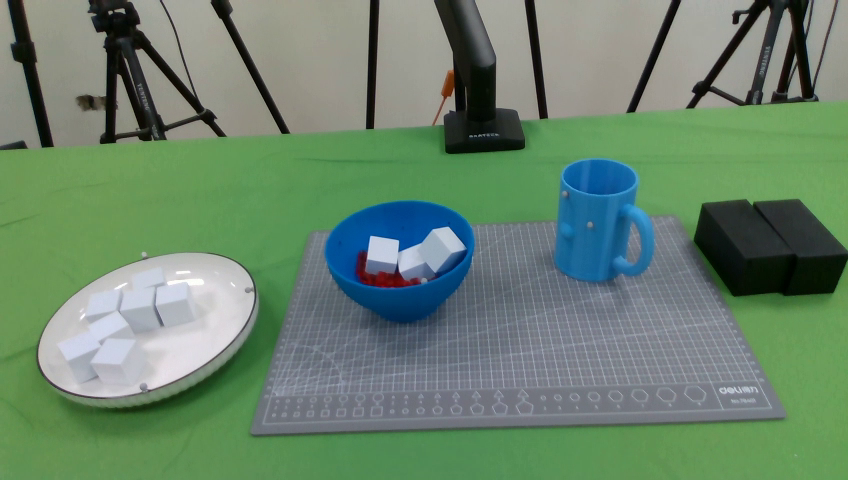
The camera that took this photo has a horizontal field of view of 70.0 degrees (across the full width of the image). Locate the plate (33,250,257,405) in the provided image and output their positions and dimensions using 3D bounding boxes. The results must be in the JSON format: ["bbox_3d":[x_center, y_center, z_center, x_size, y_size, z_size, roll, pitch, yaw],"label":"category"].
[{"bbox_3d":[-0.271,0.086,0.609,0.209,0.038,0.207,-2,36,2],"label":"plate"}]

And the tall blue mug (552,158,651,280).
[{"bbox_3d":[0.192,-0.018,0.638,0.106,0.109,0.077,17,41,26],"label":"tall blue mug"}]

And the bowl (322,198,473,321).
[{"bbox_3d":[-0.024,0.030,0.621,0.151,0.077,0.150,-3,36,2],"label":"bowl"}]
